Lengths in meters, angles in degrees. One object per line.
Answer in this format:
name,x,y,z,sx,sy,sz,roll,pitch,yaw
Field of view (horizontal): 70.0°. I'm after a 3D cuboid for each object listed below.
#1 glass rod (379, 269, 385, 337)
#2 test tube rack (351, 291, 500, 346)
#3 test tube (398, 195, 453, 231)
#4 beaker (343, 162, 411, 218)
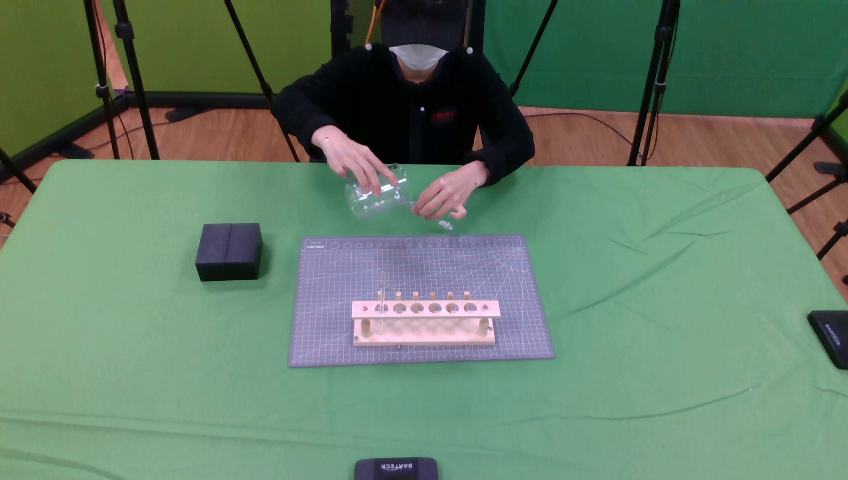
glass rod,-0.066,0.104,0.953,0.008,0.200,0.008,3,52,-3
test tube rack,0.000,0.129,1.026,0.242,0.085,0.066,0,46,-4
test tube,0.006,-0.049,1.167,0.151,0.017,0.017,29,28,-42
beaker,-0.085,-0.084,1.073,0.100,0.084,0.073,-22,39,-23
